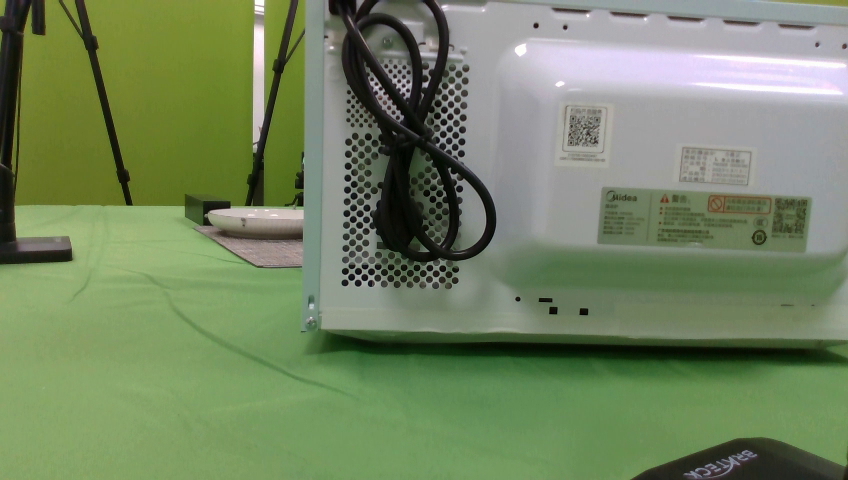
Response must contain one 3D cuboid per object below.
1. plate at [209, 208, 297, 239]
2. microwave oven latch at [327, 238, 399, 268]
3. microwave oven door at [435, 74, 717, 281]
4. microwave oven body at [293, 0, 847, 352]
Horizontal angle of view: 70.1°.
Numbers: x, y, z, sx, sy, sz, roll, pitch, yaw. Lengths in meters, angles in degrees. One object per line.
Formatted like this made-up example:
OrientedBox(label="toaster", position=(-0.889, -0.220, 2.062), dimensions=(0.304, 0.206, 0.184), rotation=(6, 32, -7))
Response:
OrientedBox(label="plate", position=(-0.271, -0.029, 1.074), dimensions=(0.208, 0.039, 0.207), rotation=(3, 7, 0))
OrientedBox(label="microwave oven latch", position=(-0.069, 0.015, 0.694), dimensions=(0.079, 0.029, 0.030), rotation=(3, 7, -3))
OrientedBox(label="microwave oven door", position=(0.180, -0.089, 0.797), dimensions=(0.354, 0.243, 0.039), rotation=(7, 9, 30))
OrientedBox(label="microwave oven body", position=(0.122, -0.055, 0.550), dimensions=(0.442, 0.260, 0.325), rotation=(3, 7, -5))
